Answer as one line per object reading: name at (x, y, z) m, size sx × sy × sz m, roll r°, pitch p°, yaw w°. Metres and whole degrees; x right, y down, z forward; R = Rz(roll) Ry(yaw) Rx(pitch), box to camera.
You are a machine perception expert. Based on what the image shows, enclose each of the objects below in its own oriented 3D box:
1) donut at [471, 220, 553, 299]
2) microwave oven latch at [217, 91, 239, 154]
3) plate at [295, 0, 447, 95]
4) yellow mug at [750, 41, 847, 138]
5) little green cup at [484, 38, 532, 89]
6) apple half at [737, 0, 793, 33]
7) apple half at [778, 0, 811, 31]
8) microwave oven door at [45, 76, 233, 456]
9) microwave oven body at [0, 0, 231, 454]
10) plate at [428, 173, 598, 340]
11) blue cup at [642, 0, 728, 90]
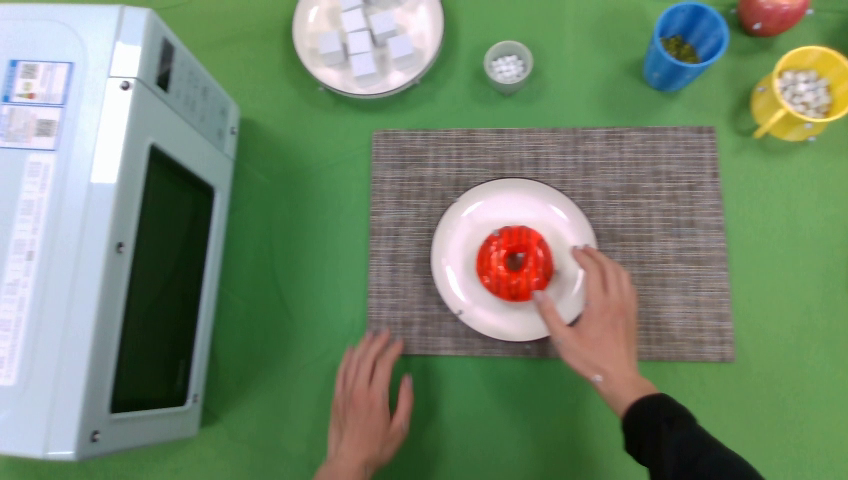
donut at (0.108, 0.024, 0.743) m, size 0.099 × 0.048 × 0.098 m, roll -1°, pitch 82°, yaw 6°
microwave oven latch at (-0.266, -0.157, 0.803) m, size 0.030 × 0.029 × 0.079 m, roll 5°, pitch 80°, yaw 5°
plate at (-0.071, -0.293, 0.834) m, size 0.207 × 0.039 × 0.206 m, roll -1°, pitch 79°, yaw 4°
yellow mug at (0.461, -0.177, 0.757) m, size 0.131 × 0.064 × 0.099 m, roll -41°, pitch 79°, yaw -3°
little green cup at (0.112, -0.233, 0.808) m, size 0.061 × 0.039 × 0.061 m, roll -1°, pitch 78°, yaw 5°
apple half at (0.435, -0.310, 0.781) m, size 0.053 × 0.075 × 0.080 m, roll 6°, pitch 83°, yaw 9°
apple half at (0.474, -0.307, 0.776) m, size 0.033 × 0.082 × 0.081 m, roll 6°, pitch 79°, yaw 9°
microwave oven door at (-0.293, 0.037, 0.664) m, size 0.039 × 0.245 × 0.354 m, roll 3°, pitch 79°, yaw 6°
microwave oven body at (-0.435, -0.012, 0.689) m, size 0.326 × 0.261 × 0.440 m, roll 3°, pitch 80°, yaw 5°
plate at (0.109, 0.020, 0.756) m, size 0.209 × 0.038 × 0.208 m, roll -1°, pitch 79°, yaw 4°
blue cup at (0.318, -0.237, 0.762) m, size 0.092 × 0.100 × 0.092 m, roll -1°, pitch 80°, yaw 4°
